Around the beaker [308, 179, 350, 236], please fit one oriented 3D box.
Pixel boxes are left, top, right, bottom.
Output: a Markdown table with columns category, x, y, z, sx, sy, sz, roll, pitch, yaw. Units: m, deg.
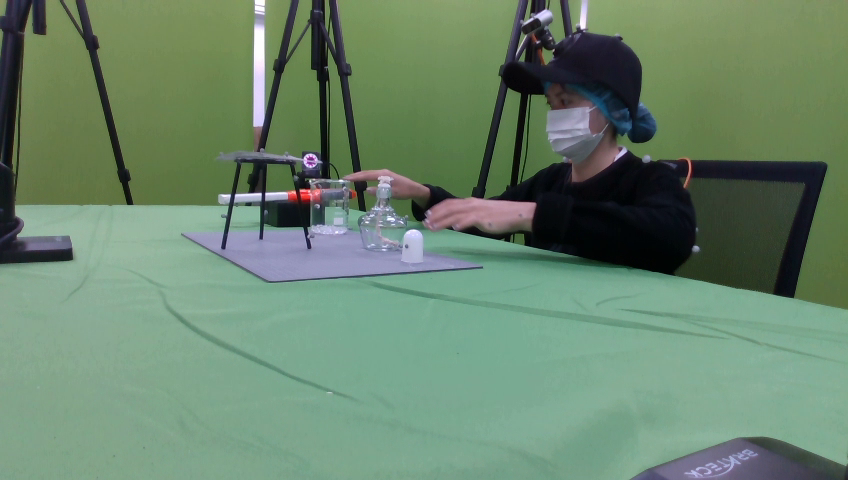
| category | x | y | z | sx | sy | sz | roll | pitch | yaw |
| --- | --- | --- | --- | --- | --- | --- | --- | --- | --- |
| beaker | -0.176 | -0.060 | 1.104 | 0.073 | 0.100 | 0.084 | 8 | 10 | 39 |

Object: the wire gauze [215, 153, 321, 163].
| category | x | y | z | sx | sy | sz | roll | pitch | yaw |
| --- | --- | --- | --- | --- | --- | --- | --- | --- | --- |
| wire gauze | -0.235 | -0.123 | 0.906 | 0.126 | 0.011 | 0.121 | -2 | 7 | -33 |

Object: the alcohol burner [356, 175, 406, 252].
| category | x | y | z | sx | sy | sz | roll | pitch | yaw |
| --- | --- | --- | --- | --- | --- | --- | --- | --- | --- |
| alcohol burner | -0.066 | -0.041 | 0.940 | 0.078 | 0.119 | 0.078 | 4 | 6 | 0 |

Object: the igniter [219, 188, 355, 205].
| category | x | y | z | sx | sy | sz | roll | pitch | yaw |
| --- | --- | --- | --- | --- | --- | --- | --- | --- | --- |
| igniter | -0.274 | -0.089 | 1.237 | 0.278 | 0.025 | 0.057 | -6 | 12 | -30 |

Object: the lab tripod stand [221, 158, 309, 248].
| category | x | y | z | sx | sy | sz | roll | pitch | yaw |
| --- | --- | --- | --- | --- | --- | --- | --- | --- | --- |
| lab tripod stand | -0.244 | -0.057 | 0.917 | 0.148 | 0.131 | 0.148 | 1 | 7 | 0 |

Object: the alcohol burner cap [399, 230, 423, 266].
| category | x | y | z | sx | sy | sz | roll | pitch | yaw |
| --- | --- | --- | --- | --- | --- | --- | --- | --- | --- |
| alcohol burner cap | -0.017 | 0.010 | 0.837 | 0.034 | 0.048 | 0.034 | 3 | 7 | 0 |
